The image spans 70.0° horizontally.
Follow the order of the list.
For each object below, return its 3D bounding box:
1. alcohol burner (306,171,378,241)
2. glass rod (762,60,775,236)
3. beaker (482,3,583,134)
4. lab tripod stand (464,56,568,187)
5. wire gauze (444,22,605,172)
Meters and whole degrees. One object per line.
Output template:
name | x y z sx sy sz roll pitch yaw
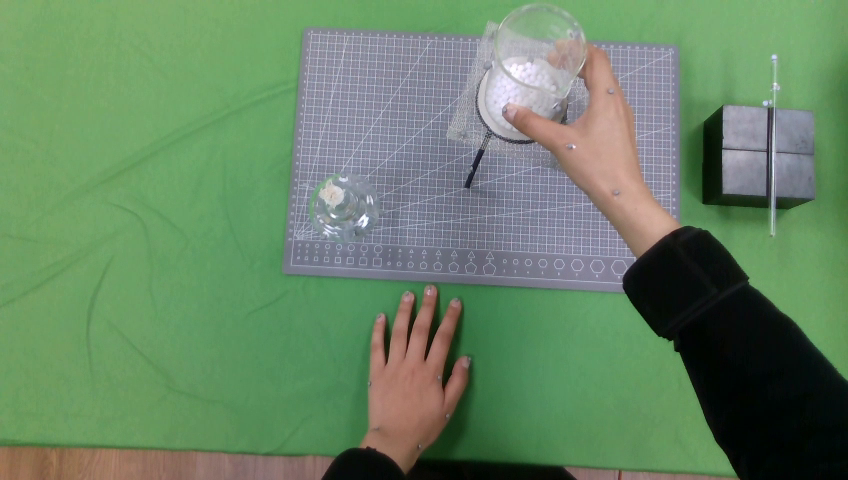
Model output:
alcohol burner | -0.089 -0.040 0.642 0.078 0.119 0.077 0 82 1
glass rod | 0.374 -0.101 0.657 0.008 0.008 0.199 6 82 2
beaker | 0.090 -0.140 0.527 0.074 0.100 0.083 -24 79 -6
lab tripod stand | 0.092 -0.128 0.645 0.148 0.132 0.148 0 81 3
wire gauze | 0.097 -0.137 0.578 0.121 0.011 0.125 20 82 4
